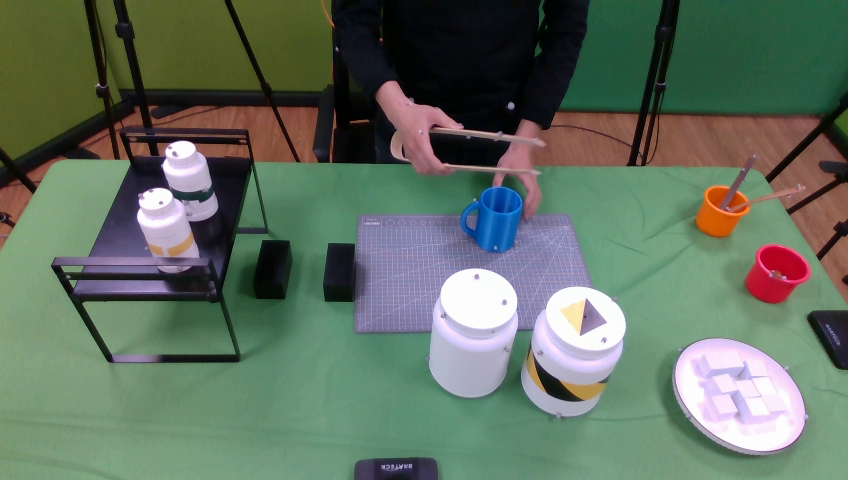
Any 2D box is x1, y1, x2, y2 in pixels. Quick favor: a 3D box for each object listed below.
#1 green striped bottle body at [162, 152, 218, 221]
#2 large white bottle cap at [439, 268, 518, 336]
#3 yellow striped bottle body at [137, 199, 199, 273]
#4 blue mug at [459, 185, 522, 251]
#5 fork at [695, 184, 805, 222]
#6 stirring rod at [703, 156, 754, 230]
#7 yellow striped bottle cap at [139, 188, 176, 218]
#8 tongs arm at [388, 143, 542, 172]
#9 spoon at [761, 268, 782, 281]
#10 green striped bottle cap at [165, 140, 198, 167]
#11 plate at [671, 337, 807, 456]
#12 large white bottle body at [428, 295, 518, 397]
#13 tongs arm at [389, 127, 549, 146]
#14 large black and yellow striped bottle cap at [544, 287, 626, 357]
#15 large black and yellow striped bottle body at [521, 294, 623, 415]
[{"bbox_3d":[-0.363,-0.092,0.939,0.063,0.120,0.063,2,46,-2],"label":"green striped bottle body"},{"bbox_3d":[0.080,0.089,0.888,0.115,0.018,0.114,2,47,-2],"label":"large white bottle cap"},{"bbox_3d":[-0.366,-0.014,0.864,0.063,0.121,0.062,2,46,-2],"label":"yellow striped bottle body"},{"bbox_3d":[0.127,-0.042,1.185,0.116,0.106,0.082,0,47,-4],"label":"blue mug"},{"bbox_3d":[0.657,-0.075,1.230,0.207,0.019,0.028,-23,34,37],"label":"fork"},{"bbox_3d":[0.631,-0.098,1.258,0.014,0.006,0.176,33,95,29],"label":"stirring rod"},{"bbox_3d":[-0.363,-0.051,0.826,0.044,0.019,0.044,1,47,-1],"label":"yellow striped bottle cap"},{"bbox_3d":[0.051,-0.138,1.027,0.028,0.028,0.385,6,6,-37],"label":"tongs arm"},{"bbox_3d":[0.638,0.060,1.105,0.041,0.021,0.194,38,11,24],"label":"spoon"},{"bbox_3d":[-0.361,-0.129,0.902,0.044,0.020,0.044,2,48,-2],"label":"green striped bottle cap"},{"bbox_3d":[0.504,0.253,0.984,0.208,0.039,0.206,2,46,-2],"label":"plate"},{"bbox_3d":[0.076,0.147,0.950,0.131,0.185,0.130,2,46,-2],"label":"large white bottle body"},{"bbox_3d":[0.058,-0.166,1.026,0.026,0.051,0.383,11,7,-38],"label":"tongs arm"},{"bbox_3d":[0.232,0.116,0.876,0.115,0.019,0.114,1,46,-1],"label":"large black and yellow striped bottle cap"},{"bbox_3d":[0.228,0.173,0.938,0.131,0.185,0.130,2,47,-2],"label":"large black and yellow striped bottle body"}]
